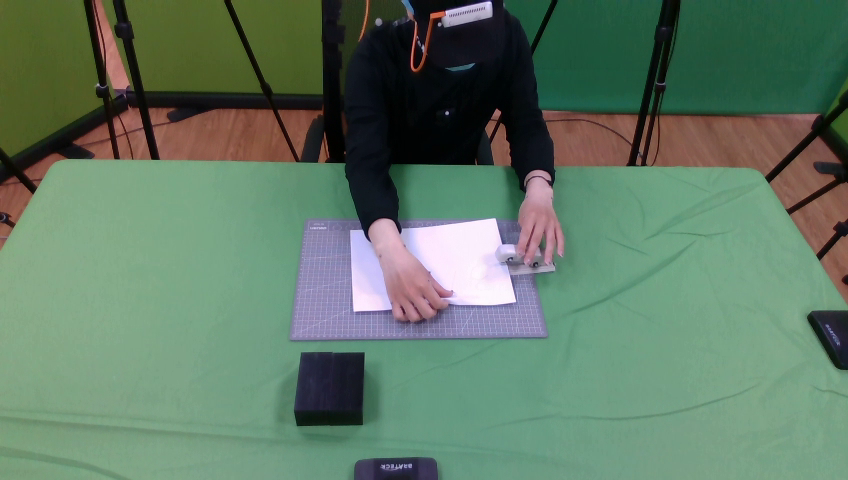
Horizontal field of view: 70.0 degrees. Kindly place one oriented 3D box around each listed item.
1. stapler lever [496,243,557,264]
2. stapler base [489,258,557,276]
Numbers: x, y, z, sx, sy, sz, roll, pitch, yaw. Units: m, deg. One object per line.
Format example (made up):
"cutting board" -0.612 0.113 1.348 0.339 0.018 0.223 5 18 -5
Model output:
"stapler lever" 0.194 0.024 1.145 0.118 0.040 0.026 -5 48 -11
"stapler base" 0.191 0.042 1.162 0.131 0.024 0.041 -4 48 -11
